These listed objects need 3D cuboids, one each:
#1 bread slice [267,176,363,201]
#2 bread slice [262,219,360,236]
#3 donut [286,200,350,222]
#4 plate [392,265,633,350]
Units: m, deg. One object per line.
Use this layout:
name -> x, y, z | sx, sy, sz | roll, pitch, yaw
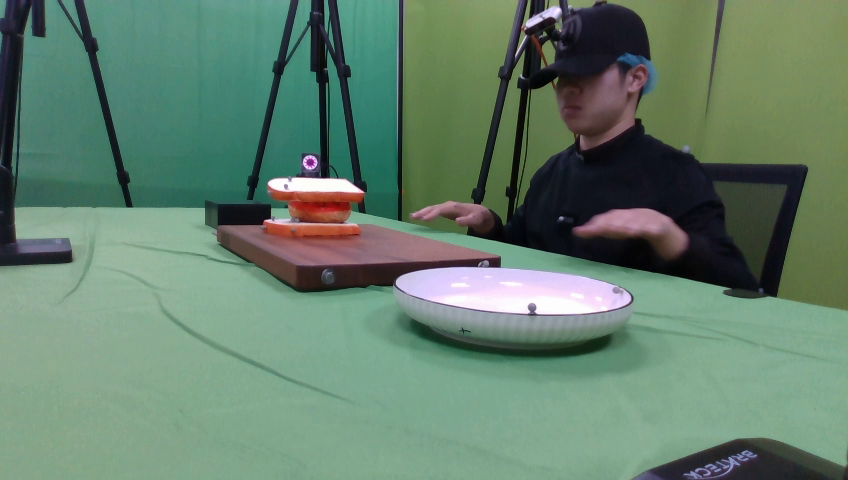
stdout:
bread slice -> -0.169, -0.078, 0.923 | 0.135, 0.018, 0.106 | -4, 18, -26
bread slice -> -0.179, -0.021, 0.931 | 0.132, 0.019, 0.104 | -1, 7, -35
donut -> -0.165, -0.051, 0.938 | 0.099, 0.048, 0.099 | 4, 8, 0
plate -> 0.075, 0.057, 0.533 | 0.209, 0.038, 0.209 | 3, 7, 0
